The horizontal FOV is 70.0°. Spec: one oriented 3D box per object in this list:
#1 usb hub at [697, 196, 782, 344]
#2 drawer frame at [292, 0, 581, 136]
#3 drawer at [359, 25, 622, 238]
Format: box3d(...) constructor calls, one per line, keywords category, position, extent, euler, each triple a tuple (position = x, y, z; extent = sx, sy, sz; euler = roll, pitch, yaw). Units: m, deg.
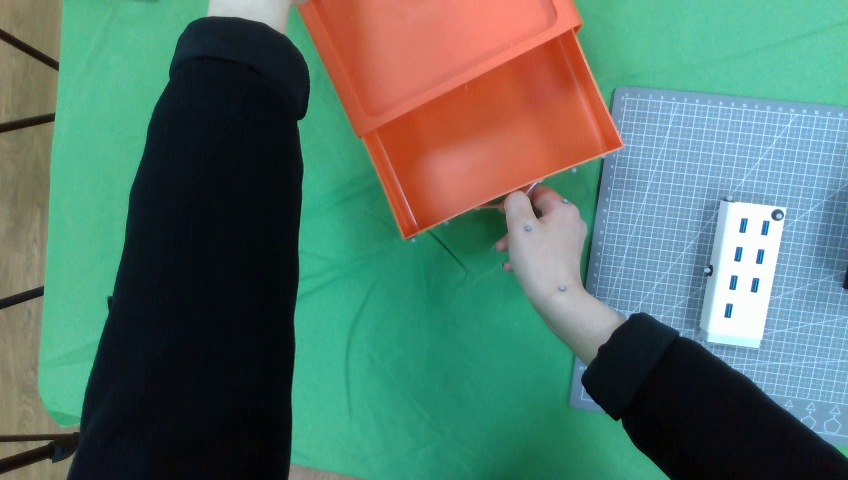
box3d(category="usb hub", position=(0.277, 0.026, 0.533), extent=(0.049, 0.025, 0.125), euler=(6, 99, 5))
box3d(category="drawer frame", position=(-0.008, -0.223, 0.503), extent=(0.201, 0.082, 0.214), euler=(-25, 94, 9))
box3d(category="drawer", position=(0.033, -0.134, 0.514), extent=(0.194, 0.073, 0.212), euler=(-23, 95, 9))
